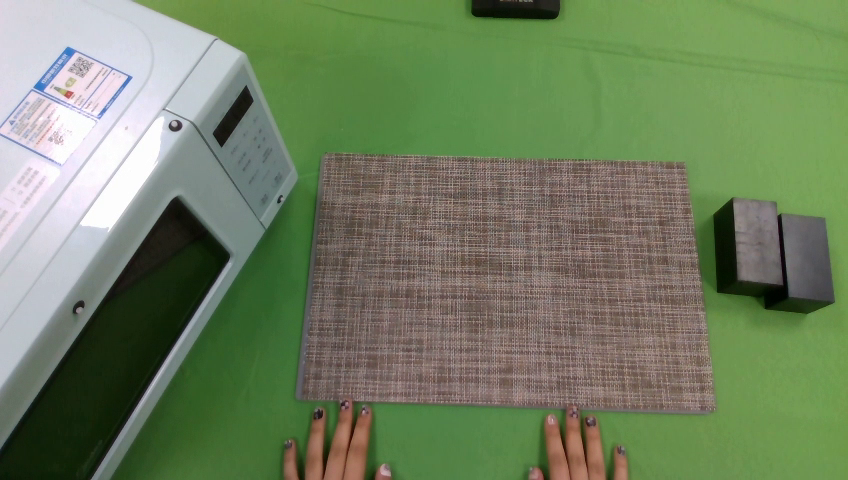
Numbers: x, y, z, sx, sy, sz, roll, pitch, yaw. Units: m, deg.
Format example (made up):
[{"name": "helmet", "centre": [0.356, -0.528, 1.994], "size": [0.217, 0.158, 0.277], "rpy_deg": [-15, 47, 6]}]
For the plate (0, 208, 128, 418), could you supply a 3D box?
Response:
[{"name": "plate", "centre": [-0.385, 0.070, 0.595], "size": [0.209, 0.038, 0.207], "rpy_deg": [-3, 68, 7]}]

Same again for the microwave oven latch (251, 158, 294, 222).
[{"name": "microwave oven latch", "centre": [-0.180, -0.062, 0.703], "size": [0.030, 0.029, 0.079], "rpy_deg": [25, 73, 7]}]

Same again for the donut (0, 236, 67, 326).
[{"name": "donut", "centre": [-0.413, 0.040, 0.610], "size": [0.099, 0.048, 0.098], "rpy_deg": [2, 55, -3]}]

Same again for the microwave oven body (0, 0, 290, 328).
[{"name": "microwave oven body", "centre": [-0.391, -0.008, 0.578], "size": [0.325, 0.261, 0.440], "rpy_deg": [25, 73, 7]}]

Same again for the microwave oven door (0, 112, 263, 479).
[{"name": "microwave oven door", "centre": [-0.278, 0.087, 0.541], "size": [0.039, 0.245, 0.354], "rpy_deg": [25, 72, 9]}]
